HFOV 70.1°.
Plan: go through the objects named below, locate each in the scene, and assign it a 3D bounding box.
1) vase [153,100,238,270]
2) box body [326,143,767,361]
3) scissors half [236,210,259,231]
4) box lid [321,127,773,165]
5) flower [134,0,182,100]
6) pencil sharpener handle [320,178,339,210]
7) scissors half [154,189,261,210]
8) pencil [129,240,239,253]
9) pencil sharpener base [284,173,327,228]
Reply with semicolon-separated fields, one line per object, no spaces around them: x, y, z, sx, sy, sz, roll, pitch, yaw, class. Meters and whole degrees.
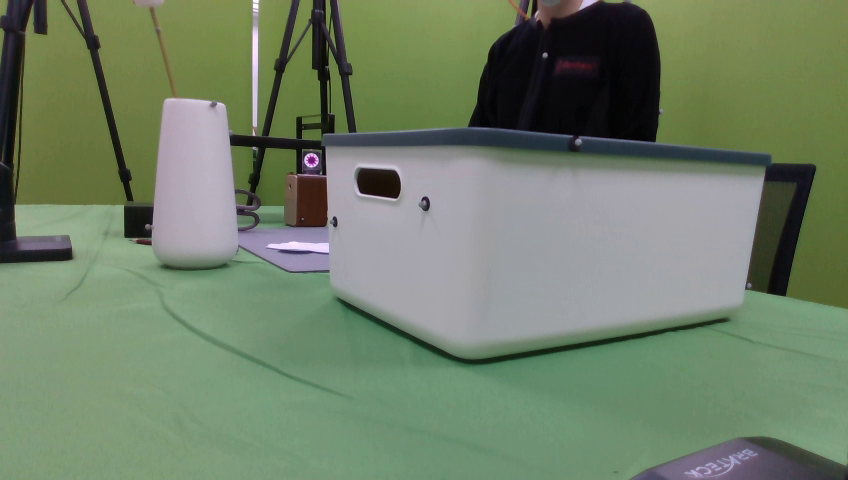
-0.278;-0.066;0.736;0.098;0.200;0.098;2;9;0;vase
0.111;-0.011;0.584;0.366;0.160;0.253;-2;9;-33;box body
-0.375;-0.046;1.051;0.176;0.040;0.013;13;-3;-28;scissors half
0.113;-0.084;0.573;0.373;0.015;0.262;-2;8;-33;box lid
-0.282;-0.146;0.712;0.038;0.362;0.044;-23;24;-32;flower
-0.194;-0.095;1.256;0.031;0.067;0.036;-2;-6;-36;pencil sharpener handle
-0.373;-0.066;1.049;0.176;0.040;0.012;-6;12;-27;scissors half
-0.350;0.008;0.874;0.193;0.012;0.012;4;7;19;pencil
-0.239;-0.081;1.231;0.077;0.107;0.061;-2;8;-36;pencil sharpener base
